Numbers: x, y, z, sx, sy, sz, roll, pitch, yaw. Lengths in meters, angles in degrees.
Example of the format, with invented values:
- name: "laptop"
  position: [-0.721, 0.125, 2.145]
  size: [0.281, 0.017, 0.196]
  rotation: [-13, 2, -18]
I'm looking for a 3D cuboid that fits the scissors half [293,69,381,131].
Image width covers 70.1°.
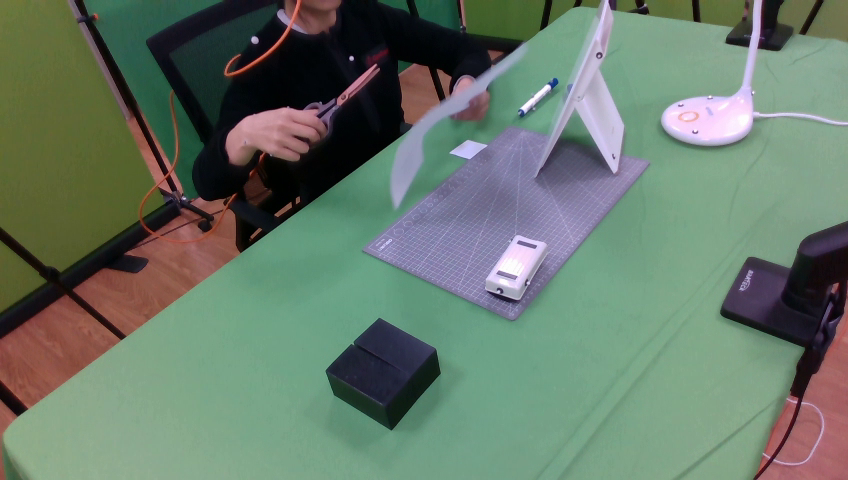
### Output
- name: "scissors half"
  position: [-0.142, -0.229, 0.977]
  size: [0.175, 0.013, 0.040]
  rotation: [-26, 60, 17]

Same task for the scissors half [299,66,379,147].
- name: "scissors half"
  position: [-0.134, -0.213, 0.967]
  size: [0.175, 0.013, 0.040]
  rotation: [-45, 62, 6]

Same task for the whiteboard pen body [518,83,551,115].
- name: "whiteboard pen body"
  position: [0.242, -0.307, 1.289]
  size: [0.017, 0.017, 0.141]
  rotation: [24, 52, 33]

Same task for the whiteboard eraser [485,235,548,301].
- name: "whiteboard eraser"
  position: [0.137, 0.042, 0.887]
  size: [0.055, 0.042, 0.113]
  rotation: [15, 45, 27]

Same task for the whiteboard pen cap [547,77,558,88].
- name: "whiteboard pen cap"
  position: [0.279, -0.341, 1.321]
  size: [0.018, 0.018, 0.033]
  rotation: [22, 52, 31]

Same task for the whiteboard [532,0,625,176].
- name: "whiteboard"
  position: [0.320, -0.259, 1.050]
  size: [0.144, 0.306, 0.217]
  rotation: [21, 45, 5]

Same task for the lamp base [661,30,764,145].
- name: "lamp base"
  position: [0.535, -0.287, 1.096]
  size: [0.179, 0.181, 0.159]
  rotation: [-10, 40, -4]
